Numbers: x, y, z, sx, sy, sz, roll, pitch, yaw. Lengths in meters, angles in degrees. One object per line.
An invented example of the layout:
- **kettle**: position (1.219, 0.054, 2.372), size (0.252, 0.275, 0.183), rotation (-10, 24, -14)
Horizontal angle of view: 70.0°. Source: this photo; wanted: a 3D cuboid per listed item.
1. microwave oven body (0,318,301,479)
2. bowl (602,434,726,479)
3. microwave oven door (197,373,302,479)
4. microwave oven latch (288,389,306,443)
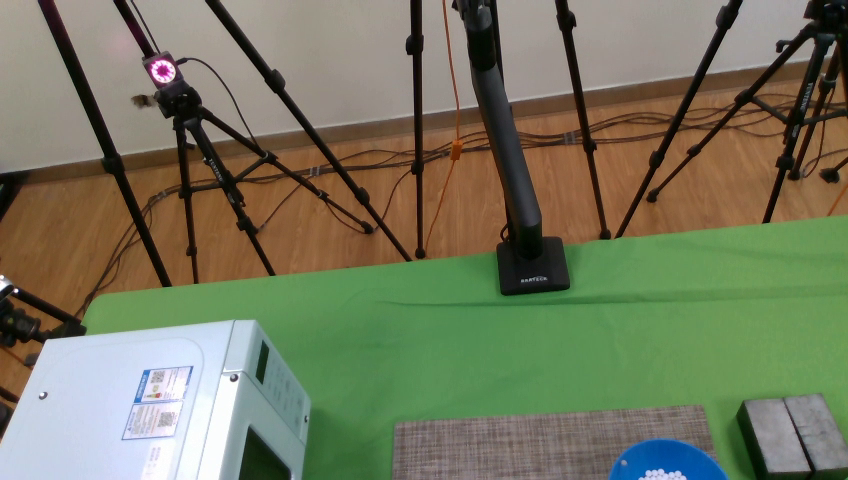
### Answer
- **microwave oven body**: position (-0.359, 0.359, 0.756), size (0.326, 0.263, 0.437), rotation (-7, 50, 6)
- **bowl**: position (0.298, 0.330, 0.757), size (0.151, 0.077, 0.150), rotation (-6, 50, 8)
- **microwave oven door**: position (-0.215, 0.369, 0.709), size (0.039, 0.246, 0.352), rotation (-7, 49, 7)
- **microwave oven latch**: position (-0.198, 0.269, 0.926), size (0.030, 0.030, 0.078), rotation (-6, 50, 7)
